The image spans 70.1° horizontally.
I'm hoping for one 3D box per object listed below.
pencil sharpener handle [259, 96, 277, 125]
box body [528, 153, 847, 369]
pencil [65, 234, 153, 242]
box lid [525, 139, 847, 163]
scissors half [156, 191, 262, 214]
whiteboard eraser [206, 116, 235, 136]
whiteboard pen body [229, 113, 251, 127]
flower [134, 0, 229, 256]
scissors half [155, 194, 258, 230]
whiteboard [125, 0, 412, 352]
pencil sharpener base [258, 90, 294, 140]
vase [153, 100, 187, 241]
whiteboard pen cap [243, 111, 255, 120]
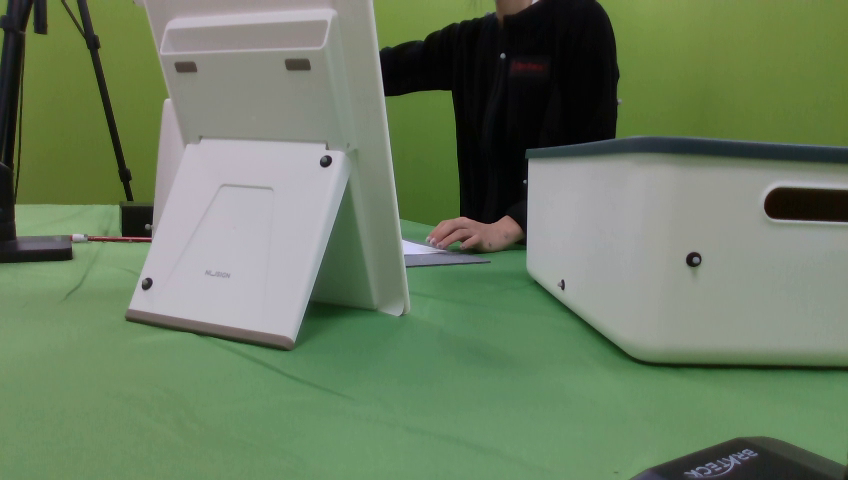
[{"bbox_3d":[-0.373,-0.304,1.425,0.036,0.067,0.030,13,0,-38],"label":"pencil sharpener handle"},{"bbox_3d":[0.258,-0.005,0.591,0.254,0.160,0.363,2,7,-4],"label":"box body"},{"bbox_3d":[-0.429,-0.001,0.911,0.195,0.012,0.012,1,8,-19],"label":"pencil"},{"bbox_3d":[0.261,-0.078,0.580,0.264,0.015,0.371,2,7,-4],"label":"box lid"},{"bbox_3d":[-0.371,-0.069,1.051,0.176,0.040,0.013,2,25,-24],"label":"scissors half"},{"bbox_3d":[-0.449,-0.251,1.335,0.056,0.042,0.112,1,7,-22],"label":"whiteboard eraser"},{"bbox_3d":[-0.410,-0.269,1.352,0.017,0.017,0.140,-2,3,-33],"label":"whiteboard pen body"},{"bbox_3d":[-0.282,-0.146,0.713,0.038,0.362,0.044,-23,23,-31],"label":"flower"},{"bbox_3d":[-0.378,-0.051,1.058,0.176,0.040,0.012,20,22,-31],"label":"scissors half"},{"bbox_3d":[-0.151,-0.049,0.472,0.216,0.305,0.144,6,27,24],"label":"whiteboard"},{"bbox_3d":[-0.341,-0.285,1.388,0.062,0.107,0.076,-3,9,-37],"label":"pencil sharpener base"},{"bbox_3d":[-0.278,-0.066,0.736,0.098,0.200,0.098,2,9,0],"label":"vase"},{"bbox_3d":[-0.377,-0.268,1.304,0.018,0.018,0.033,-2,2,-33],"label":"whiteboard pen cap"}]
